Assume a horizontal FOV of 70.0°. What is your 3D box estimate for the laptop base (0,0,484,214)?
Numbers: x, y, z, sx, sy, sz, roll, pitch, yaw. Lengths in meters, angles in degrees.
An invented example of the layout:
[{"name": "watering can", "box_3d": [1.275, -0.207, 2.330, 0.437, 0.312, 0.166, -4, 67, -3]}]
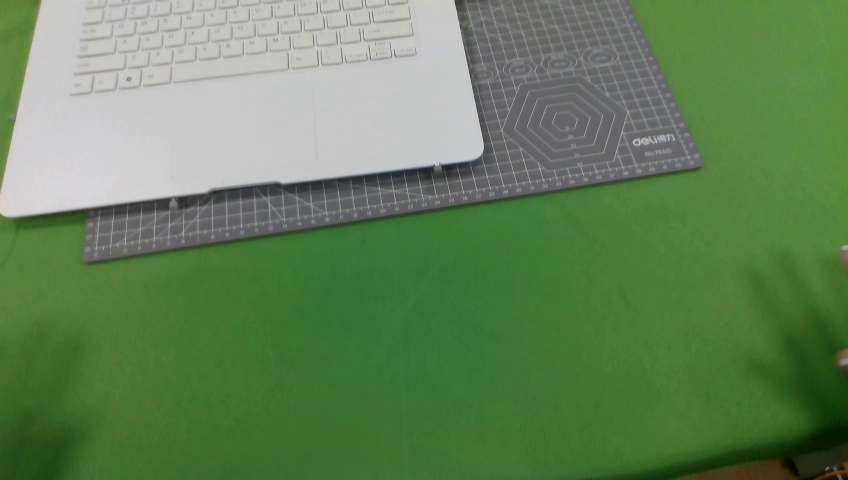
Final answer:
[{"name": "laptop base", "box_3d": [-0.144, -0.140, 0.491, 0.354, 0.023, 0.233, -7, 66, -2]}]
